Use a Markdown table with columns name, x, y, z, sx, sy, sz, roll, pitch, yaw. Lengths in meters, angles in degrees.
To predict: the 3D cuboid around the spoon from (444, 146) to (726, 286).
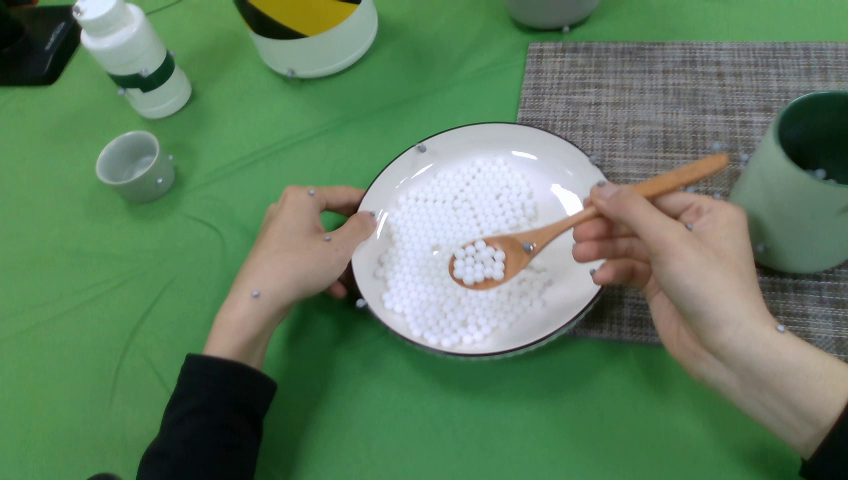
| name | x | y | z | sx | sy | sz | roll | pitch | yaw |
| --- | --- | --- | --- | --- | --- | --- | --- | --- | --- |
| spoon | 0.103 | -0.017 | 0.399 | 0.193 | 0.022 | 0.041 | -25 | 57 | 14 |

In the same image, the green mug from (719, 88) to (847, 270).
| name | x | y | z | sx | sy | sz | roll | pitch | yaw |
| --- | --- | --- | --- | --- | --- | --- | --- | --- | --- |
| green mug | 0.274 | -0.032 | 0.407 | 0.124 | 0.106 | 0.092 | 25 | 67 | 23 |

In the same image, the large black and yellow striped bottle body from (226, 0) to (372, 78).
| name | x | y | z | sx | sy | sz | roll | pitch | yaw |
| --- | --- | --- | --- | --- | --- | --- | --- | --- | --- |
| large black and yellow striped bottle body | -0.132 | -0.262 | 0.574 | 0.130 | 0.186 | 0.129 | -5 | 59 | 8 |

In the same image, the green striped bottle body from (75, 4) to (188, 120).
| name | x | y | z | sx | sy | sz | roll | pitch | yaw |
| --- | --- | --- | --- | --- | --- | --- | --- | --- | --- |
| green striped bottle body | -0.289 | -0.180 | 0.593 | 0.063 | 0.120 | 0.062 | -5 | 59 | 9 |

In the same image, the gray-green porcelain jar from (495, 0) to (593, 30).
| name | x | y | z | sx | sy | sz | roll | pitch | yaw |
| --- | --- | --- | --- | --- | --- | --- | --- | --- | --- |
| gray-green porcelain jar | 0.114 | -0.275 | 0.571 | 0.106 | 0.128 | 0.105 | -4 | 59 | 8 |

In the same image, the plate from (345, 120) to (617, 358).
| name | x | y | z | sx | sy | sz | roll | pitch | yaw |
| --- | --- | --- | --- | --- | --- | --- | --- | --- | --- |
| plate | 0.043 | -0.003 | 0.474 | 0.209 | 0.038 | 0.207 | -6 | 59 | 10 |

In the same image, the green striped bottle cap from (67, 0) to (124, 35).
| name | x | y | z | sx | sy | sz | roll | pitch | yaw |
| --- | --- | --- | --- | --- | --- | --- | --- | --- | --- |
| green striped bottle cap | -0.298 | -0.207 | 0.549 | 0.044 | 0.020 | 0.044 | -3 | 61 | 6 |

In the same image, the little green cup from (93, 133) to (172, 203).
| name | x | y | z | sx | sy | sz | roll | pitch | yaw |
| --- | --- | --- | --- | --- | --- | --- | --- | --- | --- |
| little green cup | -0.272 | -0.066 | 0.571 | 0.061 | 0.039 | 0.061 | -5 | 58 | 8 |
